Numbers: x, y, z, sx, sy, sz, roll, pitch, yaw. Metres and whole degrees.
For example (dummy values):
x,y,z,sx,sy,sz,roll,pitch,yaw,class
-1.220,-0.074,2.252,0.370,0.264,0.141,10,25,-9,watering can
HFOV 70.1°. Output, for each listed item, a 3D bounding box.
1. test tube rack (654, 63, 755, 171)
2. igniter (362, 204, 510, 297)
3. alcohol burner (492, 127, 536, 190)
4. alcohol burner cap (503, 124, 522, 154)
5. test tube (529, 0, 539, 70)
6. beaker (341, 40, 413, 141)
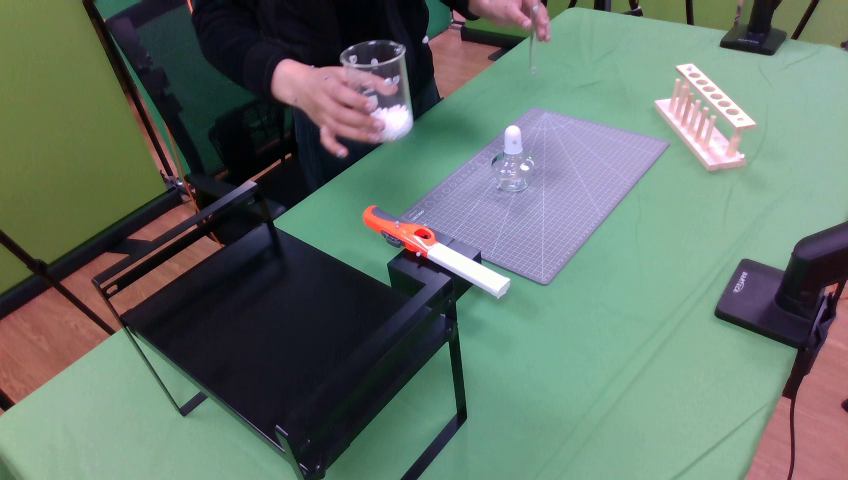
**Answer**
x,y,z,sx,sy,sz,roll,pitch,yaw,class
0.510,-0.233,1.120,0.067,0.085,0.241,-8,41,-1,test tube rack
0.007,0.009,0.887,0.274,0.025,0.057,29,50,32,igniter
0.156,-0.146,1.046,0.078,0.119,0.077,-4,44,4,alcohol burner
0.151,-0.173,1.022,0.034,0.048,0.033,-3,36,3,alcohol burner cap
0.196,-0.375,1.073,0.017,0.151,0.017,-4,36,3,test tube
-0.050,-0.177,0.720,0.084,0.100,0.073,-34,46,-30,beaker
